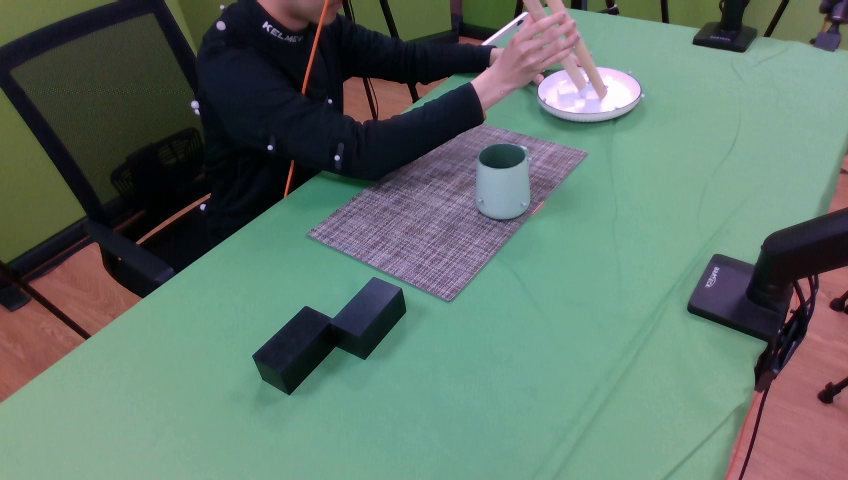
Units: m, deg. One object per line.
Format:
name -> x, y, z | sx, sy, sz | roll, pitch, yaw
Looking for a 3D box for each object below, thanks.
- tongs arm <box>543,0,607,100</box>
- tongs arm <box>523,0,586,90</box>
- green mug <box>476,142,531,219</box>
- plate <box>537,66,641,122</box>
tongs arm -> 0.244, -0.366, 1.063 | 0.026, 0.388, 0.050 | -51, 52, 4
tongs arm -> 0.224, -0.383, 1.085 | 0.028, 0.391, 0.028 | -48, 51, 6
green mug -> 0.139, -0.106, 1.003 | 0.092, 0.105, 0.125 | 21, 48, 30
plate -> 0.338, -0.299, 1.255 | 0.209, 0.038, 0.208 | -4, 41, 4
